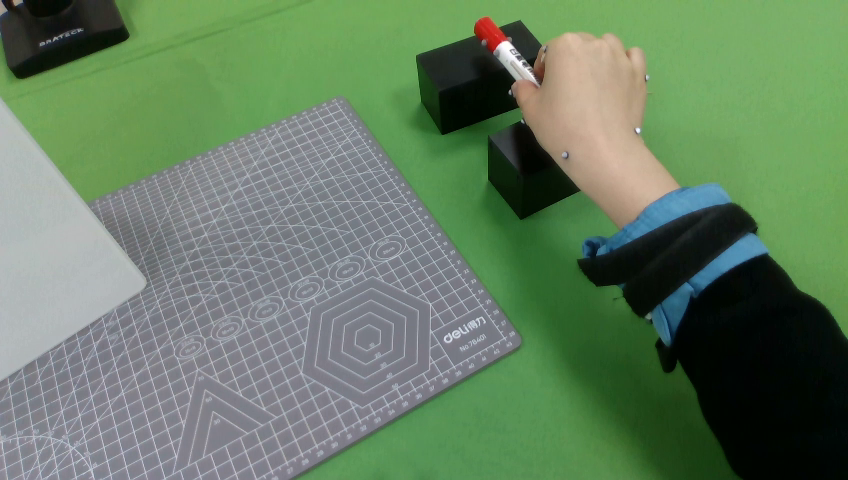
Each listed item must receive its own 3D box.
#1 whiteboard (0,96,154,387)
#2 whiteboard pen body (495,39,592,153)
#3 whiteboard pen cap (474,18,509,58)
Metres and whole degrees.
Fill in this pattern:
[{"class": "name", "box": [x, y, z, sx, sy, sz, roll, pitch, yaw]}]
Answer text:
[{"class": "whiteboard", "box": [-0.367, -0.043, 0.378, 0.217, 0.308, 0.142, -35, 40, -18]}, {"class": "whiteboard pen body", "box": [0.083, -0.119, 0.462, 0.017, 0.017, 0.139, -26, 64, -12]}, {"class": "whiteboard pen cap", "box": [0.055, -0.163, 0.488, 0.017, 0.017, 0.032, -26, 65, -12]}]
